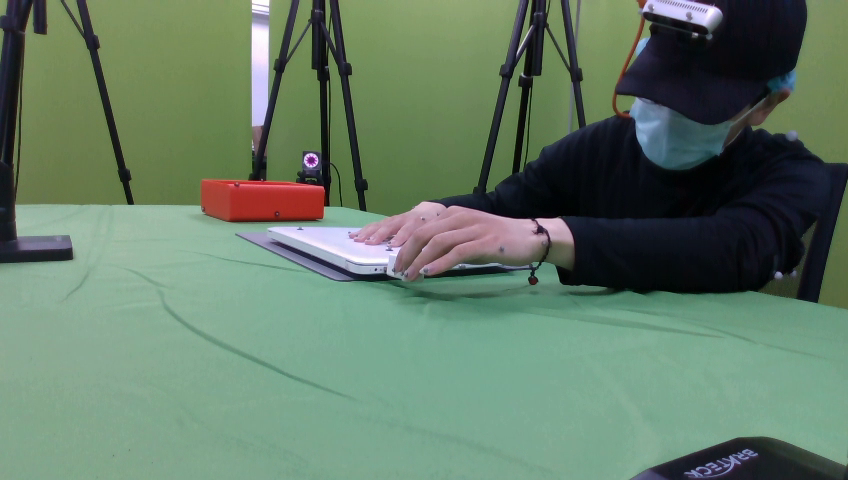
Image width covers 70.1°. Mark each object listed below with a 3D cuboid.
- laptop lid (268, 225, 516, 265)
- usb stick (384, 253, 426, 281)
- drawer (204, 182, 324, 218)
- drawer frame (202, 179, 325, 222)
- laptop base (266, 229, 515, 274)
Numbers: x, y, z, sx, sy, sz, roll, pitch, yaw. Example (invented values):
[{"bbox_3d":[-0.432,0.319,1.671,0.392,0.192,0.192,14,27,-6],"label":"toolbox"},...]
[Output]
[{"bbox_3d":[-0.063,0.003,0.877,0.243,0.013,0.355,1,7,-30],"label":"laptop lid"},{"bbox_3d":[-0.023,0.029,0.667,0.021,0.027,0.059,6,-1,-38],"label":"usb stick"},{"bbox_3d":[-0.360,-0.092,1.358,0.213,0.073,0.193,-3,10,-36],"label":"drawer"},{"bbox_3d":[-0.361,-0.092,1.356,0.215,0.082,0.200,-4,10,-37],"label":"drawer frame"},{"bbox_3d":[-0.066,0.014,0.877,0.237,0.023,0.352,2,6,-32],"label":"laptop base"}]
